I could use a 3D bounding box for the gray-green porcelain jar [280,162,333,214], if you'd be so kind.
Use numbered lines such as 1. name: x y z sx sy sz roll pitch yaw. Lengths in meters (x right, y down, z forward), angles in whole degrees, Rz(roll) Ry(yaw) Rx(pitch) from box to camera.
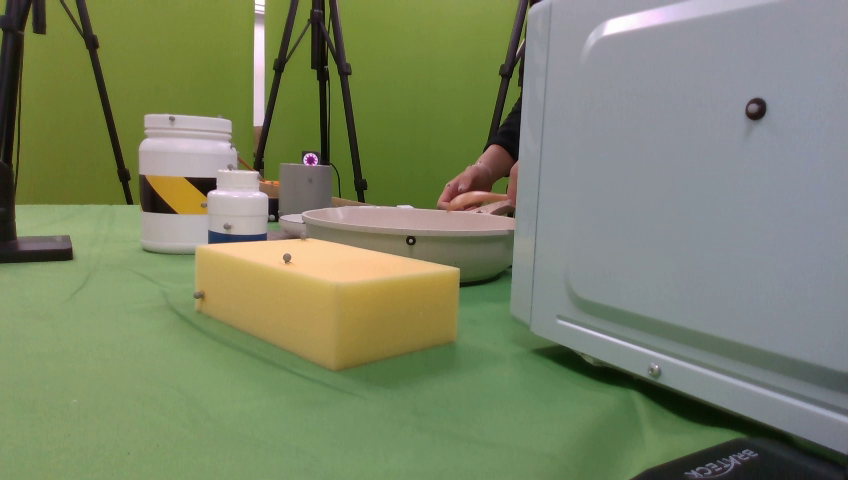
1. gray-green porcelain jar: -0.238 -0.092 1.221 0.106 0.126 0.106 2 7 0

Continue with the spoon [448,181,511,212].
1. spoon: 0.125 -0.061 0.788 0.193 0.041 0.022 -2 -6 22

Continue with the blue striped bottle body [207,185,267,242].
1. blue striped bottle body: -0.204 -0.016 0.663 0.063 0.120 0.063 2 7 0

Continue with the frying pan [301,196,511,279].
1. frying pan: 0.050 -0.028 0.864 0.305 0.102 0.490 8 18 35

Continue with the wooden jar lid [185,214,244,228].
1. wooden jar lid: -0.404 -0.037 1.169 0.108 0.020 0.108 3 7 0

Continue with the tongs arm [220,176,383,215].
1. tongs arm: -0.285 -0.103 1.445 0.389 0.027 0.028 9 -4 -23

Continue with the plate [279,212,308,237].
1. plate: -0.139 -0.022 1.021 0.209 0.038 0.209 2 8 0

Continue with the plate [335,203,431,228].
1. plate: -0.089 -0.053 1.309 0.208 0.039 0.207 2 8 0

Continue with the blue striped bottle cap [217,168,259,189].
1. blue striped bottle cap: -0.202 -0.067 0.656 0.044 0.020 0.044 0 10 0

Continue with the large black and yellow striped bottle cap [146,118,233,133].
1. large black and yellow striped bottle cap: -0.333 -0.163 0.861 0.115 0.019 0.115 1 9 0

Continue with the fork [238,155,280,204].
1. fork: -0.396 -0.143 1.486 0.028 0.018 0.208 20 -26 45

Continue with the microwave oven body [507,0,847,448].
1. microwave oven body: 0.331 -0.042 0.425 0.444 0.260 0.324 -2 8 -31

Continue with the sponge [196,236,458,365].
1. sponge: -0.087 0.039 0.500 0.206 0.061 0.119 8 10 44

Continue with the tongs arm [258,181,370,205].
1. tongs arm: -0.241 -0.095 1.373 0.387 0.026 0.050 9 0 -37

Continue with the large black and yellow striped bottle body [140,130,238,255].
1. large black and yellow striped bottle body: -0.336 -0.078 0.872 0.131 0.184 0.130 2 8 0

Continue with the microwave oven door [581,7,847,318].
1. microwave oven door: 0.295 -0.067 0.569 0.358 0.243 0.039 -3 8 -31

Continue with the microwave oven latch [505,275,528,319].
1. microwave oven latch: 0.100 0.042 0.472 0.079 0.029 0.030 -2 8 -30
